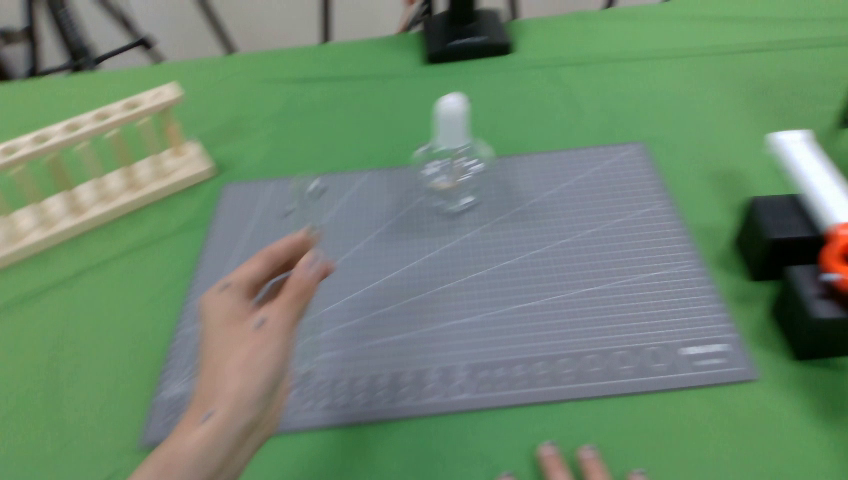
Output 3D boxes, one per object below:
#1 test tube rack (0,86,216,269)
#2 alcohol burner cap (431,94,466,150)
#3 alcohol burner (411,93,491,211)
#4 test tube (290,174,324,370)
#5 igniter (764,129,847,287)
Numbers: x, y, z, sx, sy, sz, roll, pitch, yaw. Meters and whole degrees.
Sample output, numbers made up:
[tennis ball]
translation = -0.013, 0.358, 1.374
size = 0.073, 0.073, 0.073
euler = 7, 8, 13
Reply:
[test tube rack]
translation = -0.350, -0.064, 0.613
size = 0.242, 0.086, 0.066
euler = -28, 48, -21
[alcohol burner cap]
translation = 0.022, -0.109, 0.548
size = 0.034, 0.048, 0.033
euler = -1, 43, 1
[alcohol burner]
translation = 0.025, -0.086, 0.569
size = 0.078, 0.120, 0.077
euler = -2, 45, 2
[test tube]
translation = -0.076, 0.027, 0.399
size = 0.017, 0.151, 0.017
euler = 3, 31, -1
[igniter]
translation = 0.319, -0.001, 0.446
size = 0.057, 0.025, 0.274
euler = -5, 42, 6
